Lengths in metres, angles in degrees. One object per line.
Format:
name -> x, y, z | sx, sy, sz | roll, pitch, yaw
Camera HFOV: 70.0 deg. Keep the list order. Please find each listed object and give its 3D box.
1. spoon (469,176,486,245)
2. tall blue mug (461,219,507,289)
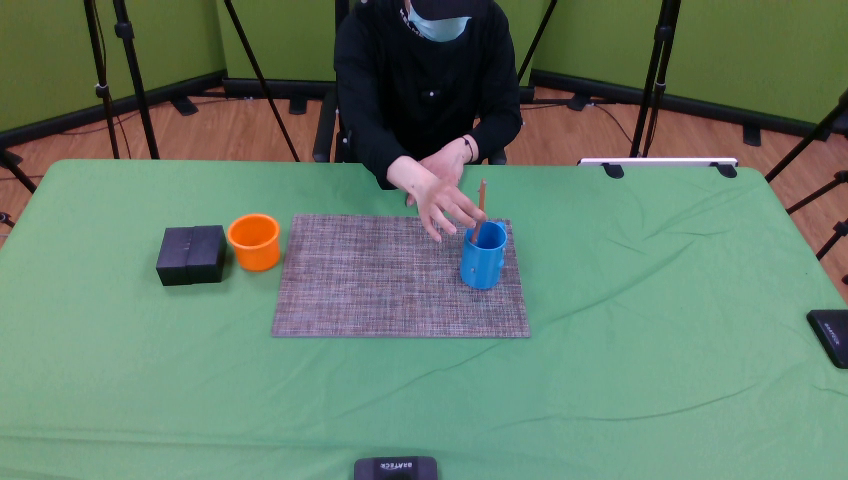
spoon -> 0.093, -0.030, 1.061 | 0.021, 0.194, 0.041 | 5, 38, -5
tall blue mug -> 0.111, 0.016, 1.122 | 0.078, 0.108, 0.106 | 6, 46, 4
